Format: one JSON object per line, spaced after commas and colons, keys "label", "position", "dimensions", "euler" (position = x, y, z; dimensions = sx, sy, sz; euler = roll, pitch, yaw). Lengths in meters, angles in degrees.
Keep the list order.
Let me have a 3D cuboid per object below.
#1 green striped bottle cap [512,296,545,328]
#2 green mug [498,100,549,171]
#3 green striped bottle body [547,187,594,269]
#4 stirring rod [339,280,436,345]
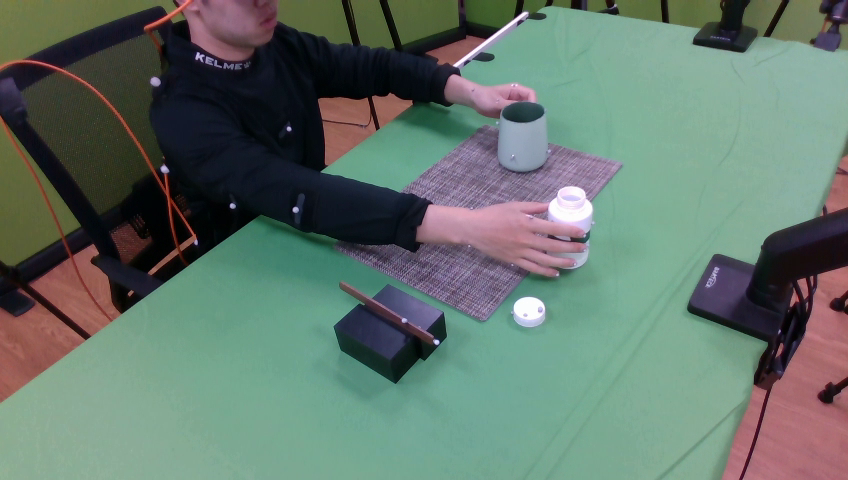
{"label": "green striped bottle cap", "position": [0.144, 0.099, 0.837], "dimensions": [0.044, 0.020, 0.044], "euler": [-2, 44, 2]}
{"label": "green mug", "position": [0.182, -0.197, 1.101], "dimensions": [0.092, 0.105, 0.125], "euler": [3, 42, 12]}
{"label": "green striped bottle body", "position": [0.214, -0.020, 0.886], "dimensions": [0.063, 0.120, 0.063], "euler": [-4, 42, 4]}
{"label": "stirring rod", "position": [-0.052, 0.093, 0.795], "dimensions": [0.174, 0.014, 0.006], "euler": [27, 47, 33]}
